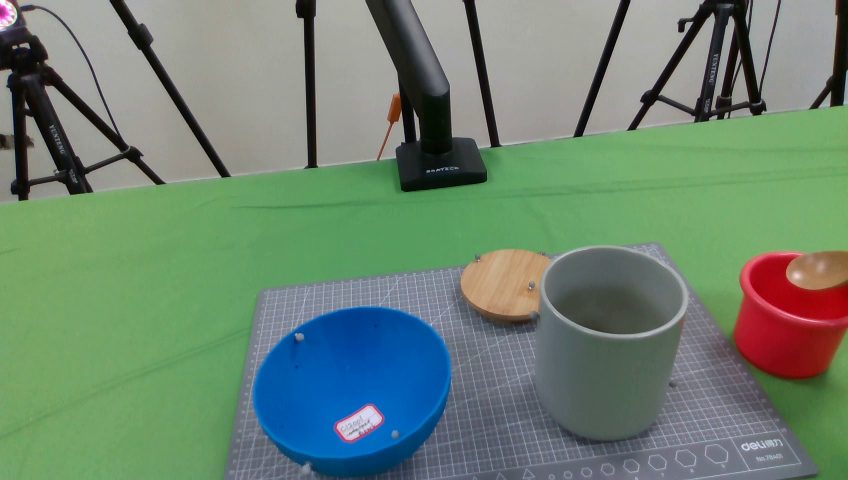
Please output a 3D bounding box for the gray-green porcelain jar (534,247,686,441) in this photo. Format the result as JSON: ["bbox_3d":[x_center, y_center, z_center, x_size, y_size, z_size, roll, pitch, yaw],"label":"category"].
[{"bbox_3d":[0.141,0.086,0.479,0.106,0.127,0.105,-3,36,3],"label":"gray-green porcelain jar"}]

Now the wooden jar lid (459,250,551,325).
[{"bbox_3d":[0.091,0.050,0.627,0.108,0.021,0.107,-3,35,3],"label":"wooden jar lid"}]

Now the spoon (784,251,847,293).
[{"bbox_3d":[0.352,0.010,0.430,0.022,0.193,0.041,38,65,-10],"label":"spoon"}]

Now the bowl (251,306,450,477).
[{"bbox_3d":[-0.052,0.131,0.480,0.151,0.077,0.150,-3,36,3],"label":"bowl"}]
